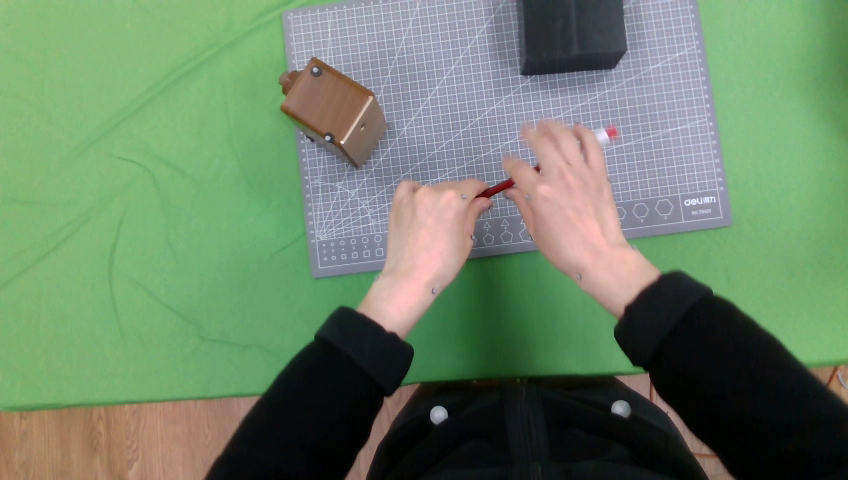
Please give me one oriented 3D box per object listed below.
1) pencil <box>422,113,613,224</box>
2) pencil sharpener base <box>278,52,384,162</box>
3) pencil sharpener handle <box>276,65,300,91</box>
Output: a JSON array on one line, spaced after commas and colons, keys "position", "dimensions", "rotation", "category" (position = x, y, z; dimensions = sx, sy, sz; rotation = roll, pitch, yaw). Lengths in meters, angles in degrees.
[{"position": [0.082, -0.061, 0.547], "dimensions": [0.194, 0.012, 0.012], "rotation": [-29, 85, 9], "category": "pencil"}, {"position": [-0.092, -0.131, 0.609], "dimensions": [0.076, 0.107, 0.061], "rotation": [32, 89, 5], "category": "pencil sharpener base"}, {"position": [-0.135, -0.161, 0.600], "dimensions": [0.030, 0.068, 0.036], "rotation": [32, 96, 5], "category": "pencil sharpener handle"}]
